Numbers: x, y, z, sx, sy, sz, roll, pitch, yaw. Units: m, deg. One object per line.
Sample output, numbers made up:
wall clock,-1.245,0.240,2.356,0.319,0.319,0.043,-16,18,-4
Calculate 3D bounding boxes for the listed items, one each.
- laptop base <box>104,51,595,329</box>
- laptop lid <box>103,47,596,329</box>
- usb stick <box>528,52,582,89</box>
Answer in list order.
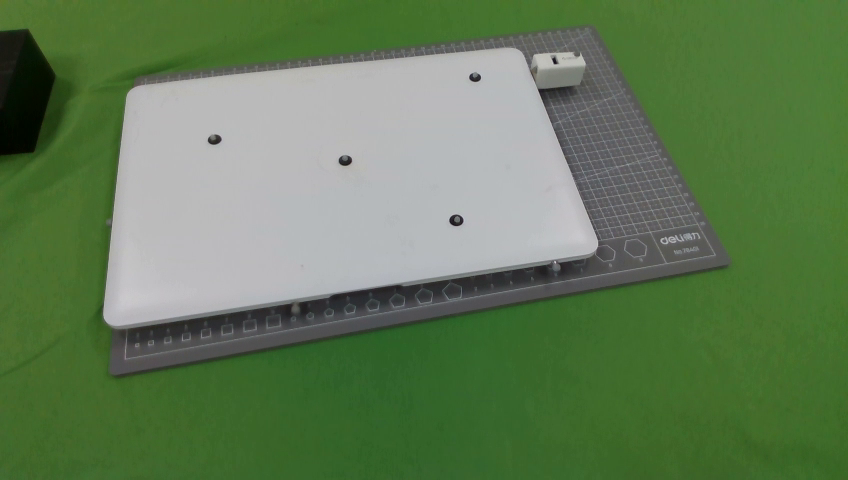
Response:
laptop base,-0.064,-0.056,0.495,0.355,0.023,0.233,-8,59,-8
laptop lid,-0.063,-0.061,0.483,0.357,0.013,0.239,-7,58,-6
usb stick,0.111,-0.154,0.553,0.059,0.027,0.021,-7,57,-5
